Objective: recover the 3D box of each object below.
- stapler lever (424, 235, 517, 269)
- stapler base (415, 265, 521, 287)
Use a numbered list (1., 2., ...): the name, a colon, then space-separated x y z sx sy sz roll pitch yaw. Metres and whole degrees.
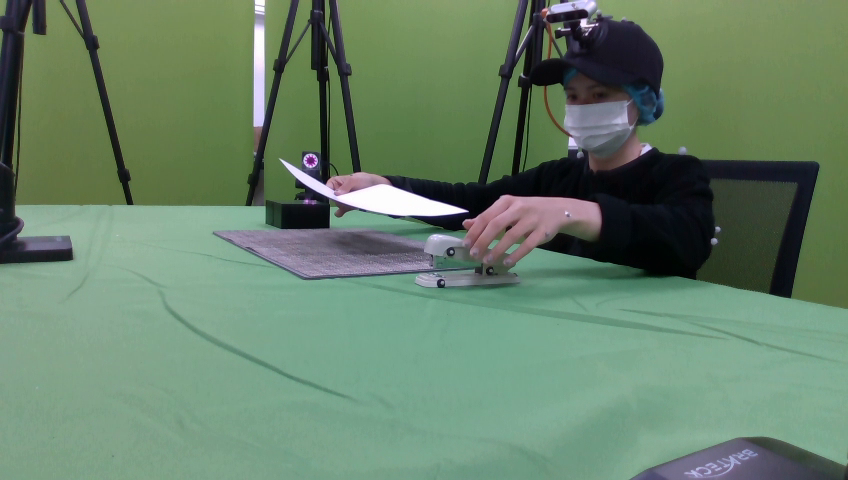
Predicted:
1. stapler lever: 0.056 0.015 0.714 0.119 0.040 0.026 1 10 -27
2. stapler base: 0.053 0.039 0.716 0.131 0.024 0.041 1 9 -27
